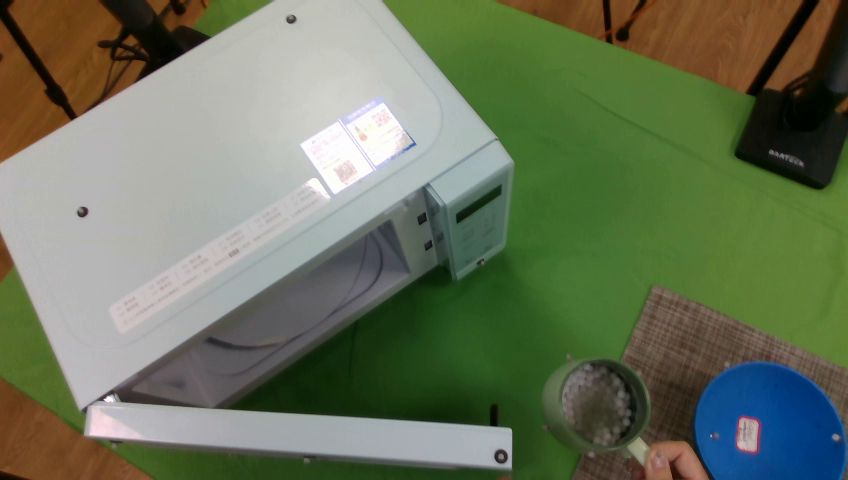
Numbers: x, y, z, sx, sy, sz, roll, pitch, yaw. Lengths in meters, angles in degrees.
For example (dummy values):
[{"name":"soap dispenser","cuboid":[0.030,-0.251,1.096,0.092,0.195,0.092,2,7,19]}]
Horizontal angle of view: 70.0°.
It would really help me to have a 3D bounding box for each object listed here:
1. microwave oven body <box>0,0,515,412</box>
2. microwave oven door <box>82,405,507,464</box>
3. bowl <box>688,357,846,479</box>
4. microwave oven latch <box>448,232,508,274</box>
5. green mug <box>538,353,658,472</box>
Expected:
[{"name":"microwave oven body","cuboid":[-0.171,-0.040,0.690,0.442,0.262,0.323,-34,71,-7]},{"name":"microwave oven door","cuboid":[-0.098,0.190,0.596,0.355,0.245,0.039,2,71,5]},{"name":"bowl","cuboid":[0.354,0.207,0.654,0.151,0.077,0.150,-2,70,5]},{"name":"microwave oven latch","cuboid":[0.067,0.009,0.756,0.079,0.030,0.030,-32,71,-6]},{"name":"green mug","cuboid":[0.170,0.165,0.573,0.092,0.105,0.124,-39,75,-7]}]
